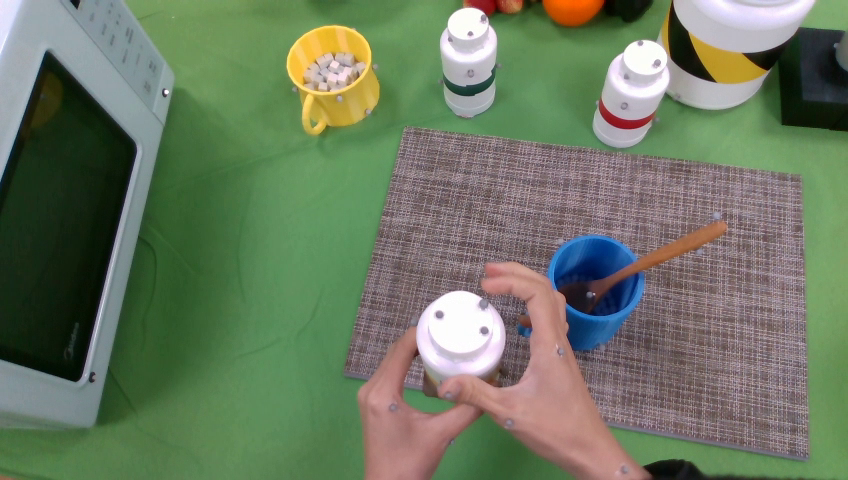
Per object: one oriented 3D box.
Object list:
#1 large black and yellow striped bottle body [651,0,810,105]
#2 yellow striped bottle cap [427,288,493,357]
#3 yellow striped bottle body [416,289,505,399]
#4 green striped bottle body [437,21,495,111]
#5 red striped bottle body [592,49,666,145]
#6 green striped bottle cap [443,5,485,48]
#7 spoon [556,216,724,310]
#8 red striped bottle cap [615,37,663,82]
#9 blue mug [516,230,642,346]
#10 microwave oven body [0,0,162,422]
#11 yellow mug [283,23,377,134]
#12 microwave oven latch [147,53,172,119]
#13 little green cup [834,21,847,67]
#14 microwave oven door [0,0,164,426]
[{"bbox_3d":[0.326,-0.248,0.648,0.131,0.185,0.130,-2,67,5],"label":"large black and yellow striped bottle body"},{"bbox_3d":[0.024,0.054,0.401,0.044,0.019,0.044,-1,65,2],"label":"yellow striped bottle cap"},{"bbox_3d":[0.027,0.076,0.450,0.063,0.121,0.062,-1,65,3],"label":"yellow striped bottle body"},{"bbox_3d":[0.048,-0.205,0.689,0.063,0.120,0.062,-1,67,4],"label":"green striped bottle body"},{"bbox_3d":[0.221,-0.160,0.656,0.063,0.120,0.062,-3,66,6],"label":"red striped bottle body"},{"bbox_3d":[0.042,-0.226,0.641,0.044,0.020,0.044,-1,66,3],"label":"green striped bottle cap"},{"bbox_3d":[0.178,0.027,0.539,0.022,0.194,0.041,7,61,-31],"label":"spoon"},{"bbox_3d":[0.216,-0.182,0.608,0.044,0.018,0.044,0,67,0],"label":"red striped bottle cap"},{"bbox_3d":[0.140,0.056,0.577,0.116,0.106,0.081,-26,67,-6],"label":"blue mug"},{"bbox_3d":[-0.491,-0.060,0.594,0.326,0.262,0.438,0,68,4],"label":"microwave oven body"},{"bbox_3d":[-0.117,-0.186,0.724,0.099,0.064,0.130,18,71,12],"label":"yellow mug"},{"bbox_3d":[-0.330,-0.187,0.737,0.030,0.030,0.078,1,68,5],"label":"microwave oven latch"},{"bbox_3d":[0.473,-0.212,0.645,0.061,0.039,0.061,-1,66,2],"label":"little green cup"},{"bbox_3d":[-0.347,-0.024,0.562,0.039,0.245,0.353,-1,67,6],"label":"microwave oven door"}]
